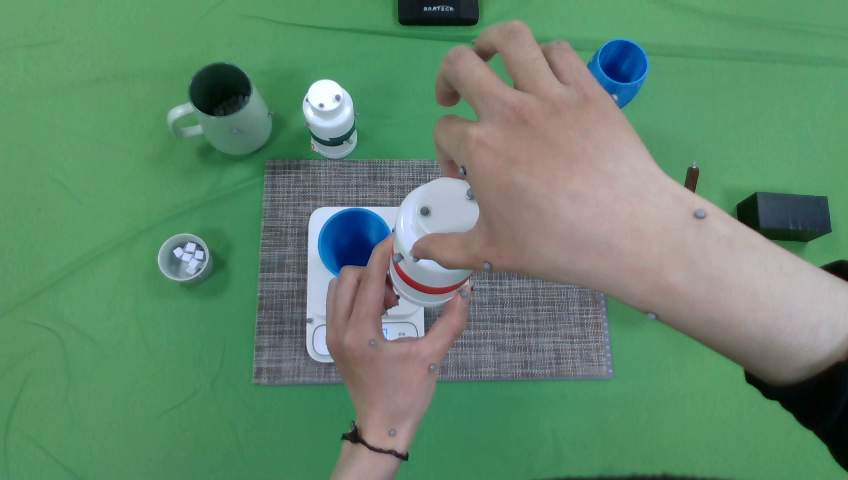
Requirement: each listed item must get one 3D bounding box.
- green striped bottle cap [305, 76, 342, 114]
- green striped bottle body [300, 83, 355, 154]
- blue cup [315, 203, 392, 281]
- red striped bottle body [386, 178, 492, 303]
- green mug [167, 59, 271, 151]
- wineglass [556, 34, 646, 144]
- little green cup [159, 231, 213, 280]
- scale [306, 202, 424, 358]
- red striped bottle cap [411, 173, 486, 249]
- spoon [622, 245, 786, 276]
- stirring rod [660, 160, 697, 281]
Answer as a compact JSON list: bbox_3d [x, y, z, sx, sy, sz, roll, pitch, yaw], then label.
[{"bbox_3d":[-0.123,-0.178,0.742,0.044,0.020,0.044,1,74,-3],"label":"green striped bottle cap"},{"bbox_3d":[-0.125,-0.164,0.792,0.063,0.120,0.063,1,74,-3],"label":"green striped bottle body"},{"bbox_3d":[-0.081,0.011,0.722,0.093,0.100,0.092,1,77,-3],"label":"blue cup"},{"bbox_3d":[0.009,0.000,0.414,0.063,0.120,0.062,2,70,-6],"label":"red striped bottle body"},{"bbox_3d":[-0.270,-0.168,0.792,0.125,0.105,0.092,-22,77,-8],"label":"green mug"},{"bbox_3d":[0.226,-0.192,0.793,0.074,0.173,0.073,1,74,-2],"label":"wineglass"},{"bbox_3d":[-0.301,0.022,0.773,0.061,0.039,0.061,1,74,-4],"label":"little green cup"},{"bbox_3d":[-0.077,0.048,0.780,0.149,0.032,0.200,-1,75,-3],"label":"scale"},{"bbox_3d":[0.015,-0.018,0.363,0.044,0.018,0.044,3,66,-5],"label":"red striped bottle cap"},{"bbox_3d":[0.340,0.031,0.753,0.022,0.192,0.041,21,78,-42],"label":"spoon"},{"bbox_3d":[0.320,-0.019,0.766,0.014,0.177,0.006,5,34,11],"label":"stirring rod"}]
